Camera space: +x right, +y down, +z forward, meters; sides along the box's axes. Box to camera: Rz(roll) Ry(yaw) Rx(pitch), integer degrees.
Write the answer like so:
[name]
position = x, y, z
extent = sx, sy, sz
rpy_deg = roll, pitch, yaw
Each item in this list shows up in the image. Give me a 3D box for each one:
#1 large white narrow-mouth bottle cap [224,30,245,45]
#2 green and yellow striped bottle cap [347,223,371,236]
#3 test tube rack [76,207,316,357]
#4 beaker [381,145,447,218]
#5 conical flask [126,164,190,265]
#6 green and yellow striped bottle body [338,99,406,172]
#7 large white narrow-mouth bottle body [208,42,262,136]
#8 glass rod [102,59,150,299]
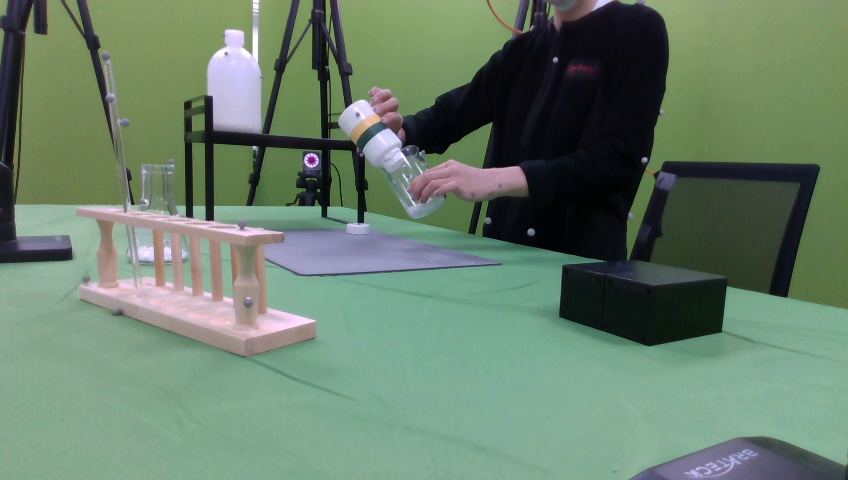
[large white narrow-mouth bottle cap]
position = -0.365, -0.389, 1.166
extent = 0.038, 0.024, 0.037
rpy_deg = 2, 9, 0
[green and yellow striped bottle cap]
position = -0.122, -0.020, 1.132
extent = 0.045, 0.020, 0.045
rpy_deg = 0, 8, 0
[test tube rack]
position = -0.196, 0.023, 0.500
extent = 0.241, 0.085, 0.067
rpy_deg = 8, 9, 36
[beaker]
position = -0.015, -0.092, 0.974
extent = 0.074, 0.100, 0.084
rpy_deg = -36, -13, 16
[conical flask]
position = -0.332, -0.033, 0.756
extent = 0.075, 0.122, 0.075
rpy_deg = 2, 7, 0
[green and yellow striped bottle body]
position = -0.082, -0.169, 1.000
extent = 0.063, 0.119, 0.063
rpy_deg = -39, -7, -6
[large white narrow-mouth bottle body]
position = -0.368, -0.304, 1.181
extent = 0.102, 0.194, 0.101
rpy_deg = 2, 9, 0
[glass rod]
position = -0.243, -0.045, 0.496
extent = 0.008, 0.199, 0.008
rpy_deg = -4, 13, 1
